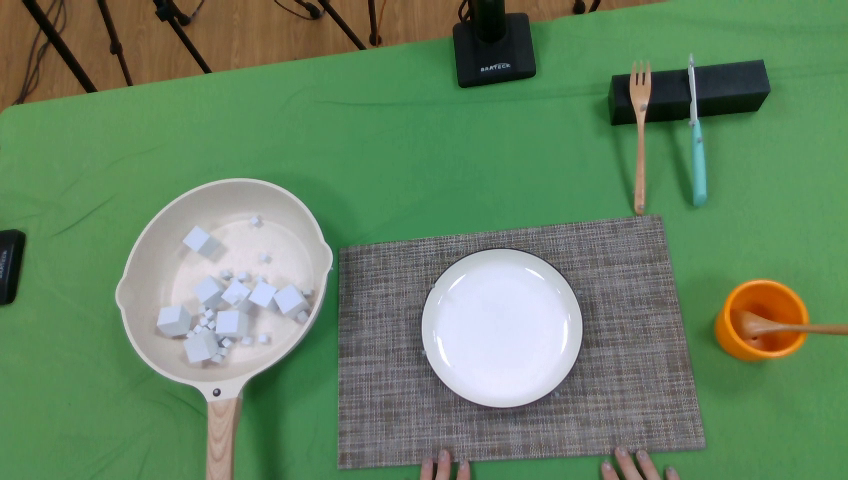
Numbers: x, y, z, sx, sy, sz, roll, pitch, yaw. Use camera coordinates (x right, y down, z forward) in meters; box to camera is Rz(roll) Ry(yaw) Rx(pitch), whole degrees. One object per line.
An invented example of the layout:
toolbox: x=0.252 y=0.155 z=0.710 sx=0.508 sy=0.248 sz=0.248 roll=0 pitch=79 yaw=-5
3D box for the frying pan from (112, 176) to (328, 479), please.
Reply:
frying pan: x=-0.263 y=0.145 z=0.794 sx=0.306 sy=0.104 sz=0.483 roll=-10 pitch=61 yaw=6

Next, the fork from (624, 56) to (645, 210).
fork: x=0.286 y=-0.145 z=0.822 sx=0.028 sy=0.018 sz=0.207 roll=0 pitch=89 yaw=2

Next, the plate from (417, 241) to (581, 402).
plate: x=0.096 y=0.104 z=0.783 sx=0.207 sy=0.039 sz=0.206 roll=-3 pitch=71 yaw=8

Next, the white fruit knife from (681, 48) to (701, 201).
white fruit knife: x=0.356 y=-0.156 z=0.814 sx=0.016 sy=0.027 sz=0.207 roll=-3 pitch=86 yaw=5

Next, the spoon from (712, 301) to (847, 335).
spoon: x=0.414 y=0.090 z=0.677 sx=0.192 sy=0.022 sz=0.041 roll=-6 pitch=69 yaw=51
